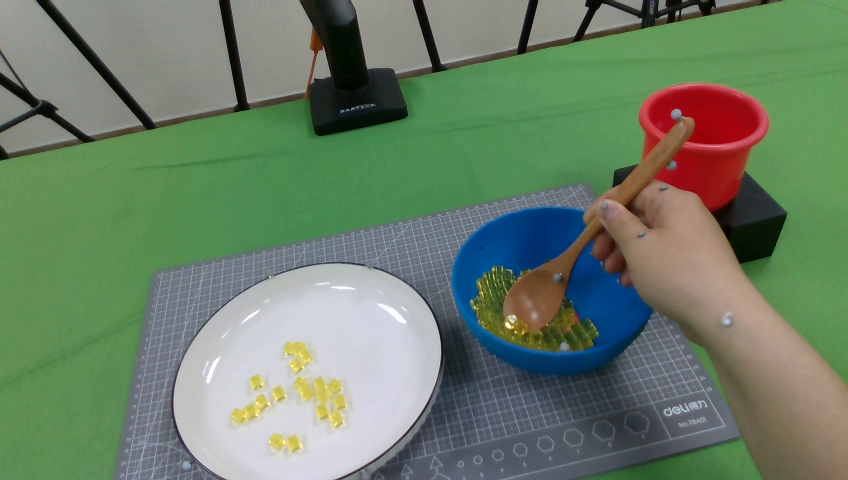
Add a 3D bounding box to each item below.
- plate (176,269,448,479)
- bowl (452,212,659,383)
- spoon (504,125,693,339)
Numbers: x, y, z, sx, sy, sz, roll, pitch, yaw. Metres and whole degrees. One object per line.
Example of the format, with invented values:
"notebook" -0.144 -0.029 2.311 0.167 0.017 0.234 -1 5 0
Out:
"plate" -0.083 0.109 0.475 0.207 0.039 0.205 -5 43 5
"bowl" 0.099 0.056 0.471 0.151 0.077 0.150 -5 43 5
"spoon" 0.118 0.000 0.424 0.022 0.194 0.041 -5 48 -46
